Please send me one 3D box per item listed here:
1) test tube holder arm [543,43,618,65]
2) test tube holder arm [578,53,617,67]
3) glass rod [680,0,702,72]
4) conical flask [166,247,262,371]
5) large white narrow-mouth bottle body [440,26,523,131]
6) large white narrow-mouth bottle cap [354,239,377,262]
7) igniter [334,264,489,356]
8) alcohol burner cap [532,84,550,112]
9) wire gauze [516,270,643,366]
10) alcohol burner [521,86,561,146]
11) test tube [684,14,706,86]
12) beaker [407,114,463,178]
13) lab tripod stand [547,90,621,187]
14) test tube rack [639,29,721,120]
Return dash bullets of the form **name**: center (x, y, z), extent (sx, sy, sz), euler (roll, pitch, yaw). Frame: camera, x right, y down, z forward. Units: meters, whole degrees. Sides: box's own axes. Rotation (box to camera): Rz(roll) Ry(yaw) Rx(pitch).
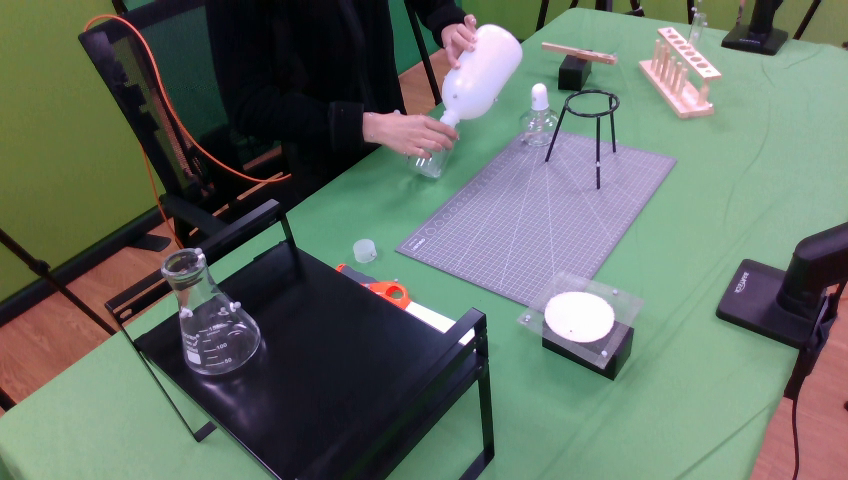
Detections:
- **test tube holder arm**: center (0.344, -0.413, 1.340), extent (0.177, 0.015, 0.013), euler (25, 51, 31)
- **test tube holder arm**: center (0.376, -0.393, 1.314), extent (0.087, 0.015, 0.010), euler (26, 51, 32)
- **glass rod**: center (0.542, -0.417, 1.233), extent (0.008, 0.200, 0.008), euler (1, 39, 0)
- **conical flask**: center (-0.208, 0.064, 0.584), extent (0.075, 0.122, 0.075), euler (-5, 40, 4)
- **large white narrow-mouth bottle body**: center (0.094, -0.287, 1.111), extent (0.101, 0.102, 0.194), euler (31, 85, 37)
- **large white narrow-mouth bottle cap**: center (-0.095, 0.017, 0.981), extent (0.038, 0.024, 0.037), euler (-4, 40, 4)
- **igniter**: center (-0.030, 0.095, 0.871), extent (0.274, 0.025, 0.057), euler (22, 59, 31)
- **alcohol burner cap**: center (0.218, -0.269, 1.133), extent (0.034, 0.048, 0.033), euler (-8, 37, 7)
- **wire gauze**: center (0.200, 0.093, 0.777), extent (0.124, 0.011, 0.122), euler (23, 49, 32)
- **alcohol burner**: center (0.223, -0.241, 1.155), extent (0.078, 0.119, 0.077), euler (-5, 43, 5)
- **test tube**: center (0.540, -0.378, 1.215), extent (0.017, 0.151, 0.017), euler (-2, 44, 3)
- **beaker**: center (0.020, -0.170, 1.111), extent (0.085, 0.100, 0.073), euler (12, 17, -45)
- **lab tripod stand**: center (0.288, -0.184, 1.062), extent (0.148, 0.132, 0.147), euler (-6, 41, 6)
- **test tube rack**: center (0.527, -0.351, 1.262), extent (0.067, 0.085, 0.241), euler (-8, 40, 1)
